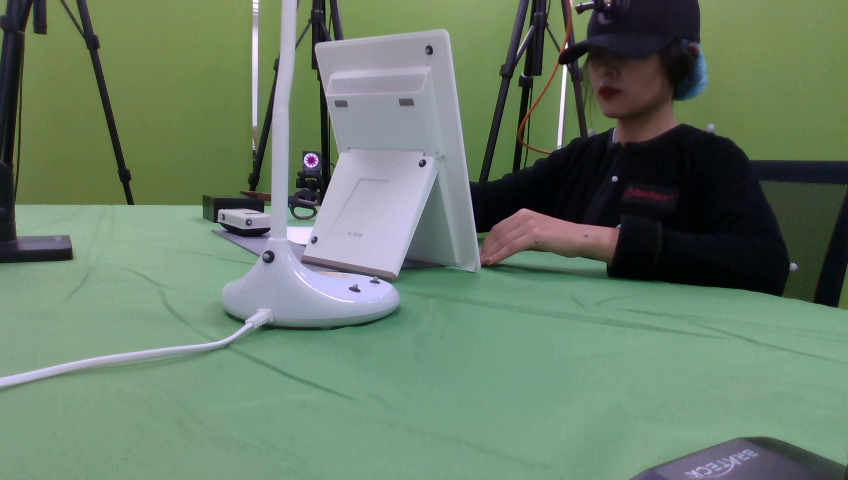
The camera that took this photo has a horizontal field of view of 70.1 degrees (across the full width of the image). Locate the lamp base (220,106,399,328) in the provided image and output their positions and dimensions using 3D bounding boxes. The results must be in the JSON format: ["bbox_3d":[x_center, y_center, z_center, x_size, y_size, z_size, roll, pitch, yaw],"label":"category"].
[{"bbox_3d":[-0.101,-0.023,0.531,0.160,0.180,0.179,4,10,10],"label":"lamp base"}]

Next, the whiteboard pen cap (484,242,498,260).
[{"bbox_3d":[0.095,0.015,0.866,0.018,0.018,0.033,1,21,-8],"label":"whiteboard pen cap"}]

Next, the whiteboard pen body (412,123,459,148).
[{"bbox_3d":[0.016,-0.143,0.824,0.017,0.017,0.141,6,1,26],"label":"whiteboard pen body"}]

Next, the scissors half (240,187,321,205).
[{"bbox_3d":[-0.311,-0.097,1.319,0.176,0.040,0.012,-1,30,-24],"label":"scissors half"}]

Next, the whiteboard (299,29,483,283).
[{"bbox_3d":[-0.074,-0.082,0.742,0.216,0.305,0.144,9,29,38],"label":"whiteboard"}]

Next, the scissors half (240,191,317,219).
[{"bbox_3d":[-0.317,-0.079,1.326,0.176,0.040,0.013,18,16,-31],"label":"scissors half"}]

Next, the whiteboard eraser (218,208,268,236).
[{"bbox_3d":[-0.309,-0.031,1.044,0.056,0.042,0.112,-2,9,-40],"label":"whiteboard eraser"}]
